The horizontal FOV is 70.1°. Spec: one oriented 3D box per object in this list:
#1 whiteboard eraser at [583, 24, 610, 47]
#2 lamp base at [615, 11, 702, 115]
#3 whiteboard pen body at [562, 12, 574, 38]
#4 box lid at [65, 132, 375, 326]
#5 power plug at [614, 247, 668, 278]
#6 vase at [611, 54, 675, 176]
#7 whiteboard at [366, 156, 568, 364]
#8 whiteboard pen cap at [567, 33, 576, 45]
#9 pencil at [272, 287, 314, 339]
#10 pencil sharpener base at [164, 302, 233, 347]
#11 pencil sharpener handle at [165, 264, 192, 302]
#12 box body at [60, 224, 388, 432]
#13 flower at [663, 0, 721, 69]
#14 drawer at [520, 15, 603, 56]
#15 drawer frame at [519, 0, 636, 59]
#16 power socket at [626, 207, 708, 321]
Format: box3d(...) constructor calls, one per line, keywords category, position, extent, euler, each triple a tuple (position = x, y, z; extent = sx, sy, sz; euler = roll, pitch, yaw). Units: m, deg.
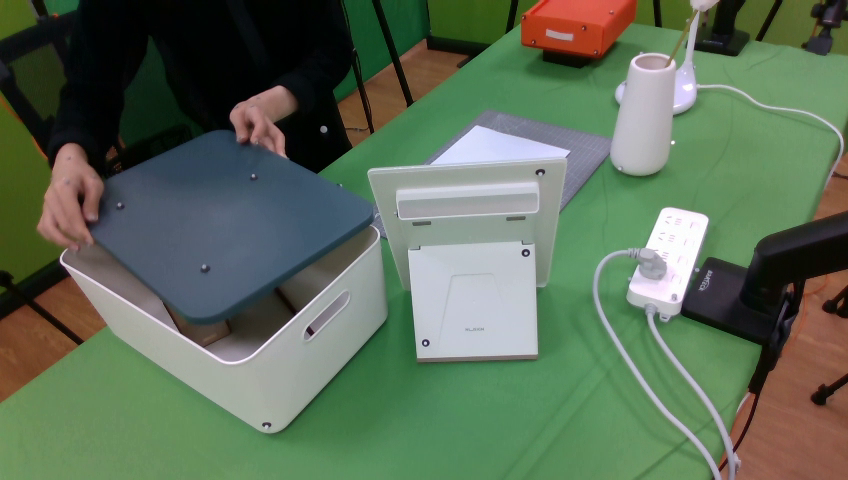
box3d(category="whiteboard eraser", position=(0.407, -0.479, 1.422), extent=(0.055, 0.042, 0.113), euler=(-3, 9, 20))
box3d(category="lamp base", position=(0.484, -0.364, 1.211), extent=(0.180, 0.181, 0.159), euler=(-15, 41, -14))
box3d(category="whiteboard pen body", position=(0.342, -0.507, 1.430), extent=(0.017, 0.017, 0.140), euler=(-2, 41, 6))
box3d(category="box lid", position=(-0.270, -0.038, 0.785), extent=(0.368, 0.015, 0.264), euler=(27, 48, 34))
box3d(category="power plug", position=(0.306, 0.031, 0.851), extent=(0.072, 0.053, 0.035), euler=(24, 49, 33))
box3d(category="vase", position=(0.377, -0.209, 1.031), extent=(0.098, 0.201, 0.097), euler=(-3, 40, 3))
box3d(category="whiteboard", position=(0.059, 0.049, 0.738), extent=(0.217, 0.307, 0.143), euler=(-2, 60, 6))
box3d(category="whiteboard pen cap", position=(0.339, -0.463, 1.390), extent=(0.018, 0.018, 0.033), euler=(-2, 44, 6))
box3d(category="pencil", position=(-0.189, 0.107, 0.880), extent=(0.012, 0.012, 0.192), euler=(-28, 42, -23))
box3d(category="pencil sharpener base", position=(-0.321, 0.088, 0.843), extent=(0.061, 0.107, 0.076), euler=(-28, 44, -20))
box3d(category="pencil sharpener handle", position=(-0.355, 0.055, 0.867), extent=(0.036, 0.068, 0.030), euler=(-10, 36, -33))
box3d(category="box body", position=(-0.256, 0.065, 0.827), extent=(0.361, 0.161, 0.255), euler=(20, 48, 29))
box3d(category="flower", position=(0.379, -0.261, 0.965), extent=(0.044, 0.362, 0.038), euler=(20, 52, 5))
box3d(category="drawer", position=(0.359, -0.517, 1.416), extent=(0.193, 0.073, 0.212), euler=(20, 47, 29))
box3d(category="drawer frame", position=(0.362, -0.518, 1.423), extent=(0.200, 0.083, 0.214), euler=(19, 48, 29))
box3d(category="power socket", position=(0.359, 0.025, 0.886), extent=(0.072, 0.033, 0.227), euler=(16, 46, 26))
